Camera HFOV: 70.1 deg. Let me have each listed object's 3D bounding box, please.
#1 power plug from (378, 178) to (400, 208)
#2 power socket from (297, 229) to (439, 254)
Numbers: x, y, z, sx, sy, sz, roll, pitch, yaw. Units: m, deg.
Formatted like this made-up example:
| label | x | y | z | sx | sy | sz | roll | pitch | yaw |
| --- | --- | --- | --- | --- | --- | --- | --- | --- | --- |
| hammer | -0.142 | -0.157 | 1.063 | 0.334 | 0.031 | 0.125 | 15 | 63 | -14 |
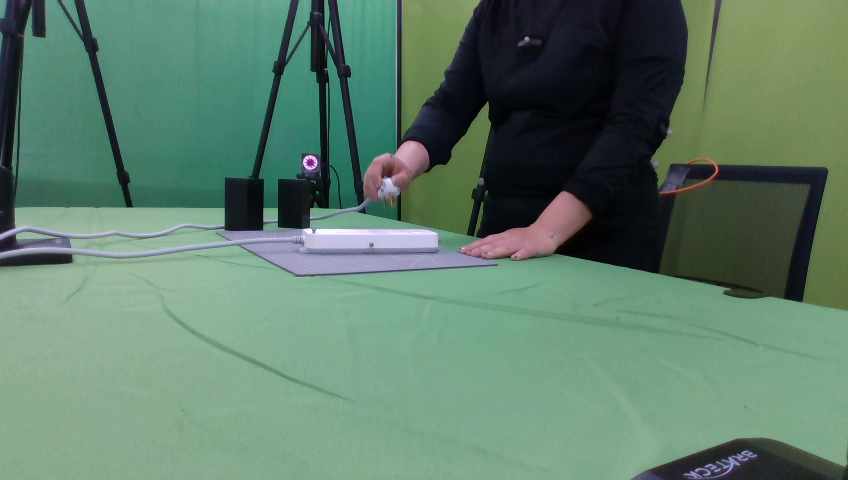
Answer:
| label | x | y | z | sx | sy | sz | roll | pitch | yaw |
| --- | --- | --- | --- | --- | --- | --- | --- | --- | --- |
| power plug | -0.056 | -0.073 | 0.989 | 0.035 | 0.052 | 0.072 | -8 | -12 | -1 |
| power socket | -0.084 | 0.001 | 0.941 | 0.228 | 0.032 | 0.072 | 0 | 7 | -20 |
